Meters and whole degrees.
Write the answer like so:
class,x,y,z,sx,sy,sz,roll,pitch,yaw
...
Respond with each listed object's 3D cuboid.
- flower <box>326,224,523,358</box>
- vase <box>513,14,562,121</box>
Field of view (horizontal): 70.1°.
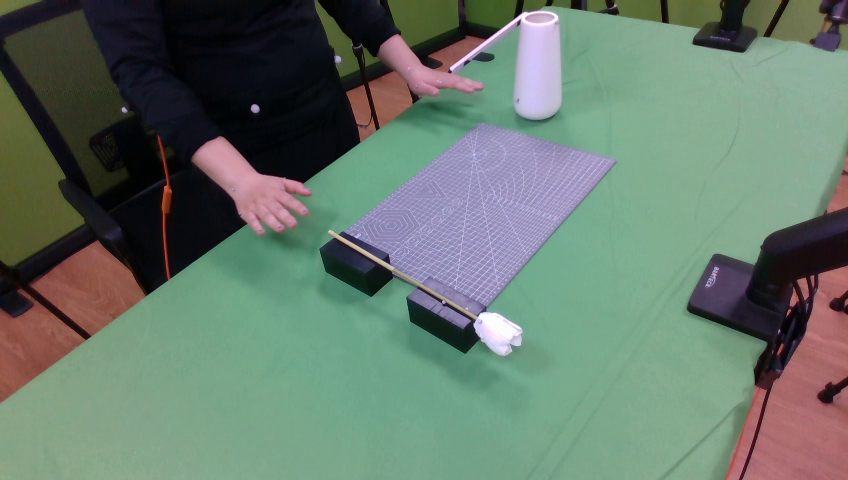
class,x,y,z,sx,sy,sz,roll,pitch,yaw
flower,-0.018,0.054,0.835,0.359,0.038,0.044,31,84,32
vase,0.225,-0.336,1.196,0.098,0.201,0.097,-5,42,5
